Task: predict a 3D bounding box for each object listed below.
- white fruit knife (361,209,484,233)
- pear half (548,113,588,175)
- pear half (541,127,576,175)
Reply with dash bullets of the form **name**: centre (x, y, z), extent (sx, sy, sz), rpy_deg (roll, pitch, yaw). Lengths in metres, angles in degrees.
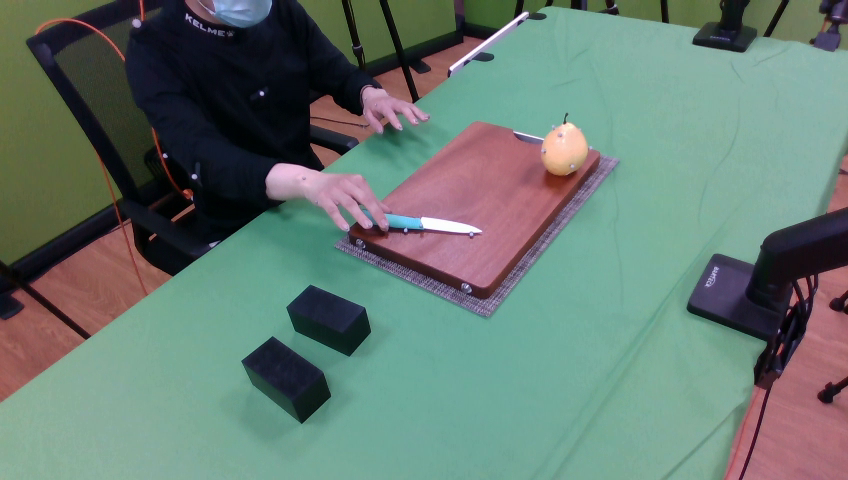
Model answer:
- **white fruit knife**: centre (-0.006, -0.027, 0.960), extent (0.206, 0.016, 0.027), rpy_deg (7, 56, 14)
- **pear half**: centre (0.245, -0.170, 1.020), extent (0.056, 0.110, 0.075), rpy_deg (-36, 52, -29)
- **pear half**: centre (0.219, -0.145, 1.010), extent (0.070, 0.088, 0.031), rpy_deg (35, 55, 29)
